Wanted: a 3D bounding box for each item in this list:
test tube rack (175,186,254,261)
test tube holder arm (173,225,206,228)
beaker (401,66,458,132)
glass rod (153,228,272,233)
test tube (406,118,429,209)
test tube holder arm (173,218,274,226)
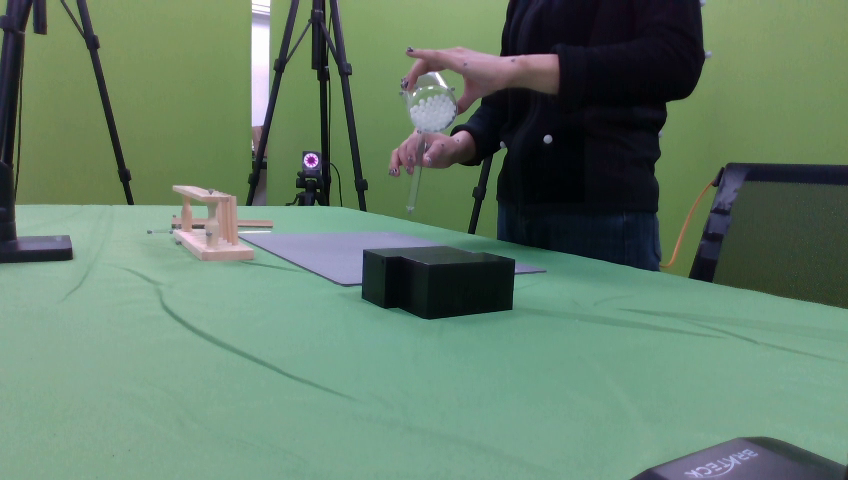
[{"bbox_3d":[-0.314,-0.031,0.889,0.067,0.085,0.241,-2,8,-30],"label":"test tube rack"},{"bbox_3d":[-0.414,-0.030,1.113,0.088,0.015,0.010,-1,-21,-25],"label":"test tube holder arm"},{"bbox_3d":[0.008,-0.201,0.877,0.074,0.084,0.100,-2,27,-6],"label":"beaker"},{"bbox_3d":[-0.368,-0.017,1.065,0.201,0.008,0.008,-2,8,-27],"label":"glass rod"},{"bbox_3d":[-0.011,-0.120,0.963,0.017,0.150,0.017,9,23,-3],"label":"test tube"},{"bbox_3d":[-0.371,-0.033,1.128,0.179,0.015,0.013,-1,-21,-25],"label":"test tube holder arm"}]
